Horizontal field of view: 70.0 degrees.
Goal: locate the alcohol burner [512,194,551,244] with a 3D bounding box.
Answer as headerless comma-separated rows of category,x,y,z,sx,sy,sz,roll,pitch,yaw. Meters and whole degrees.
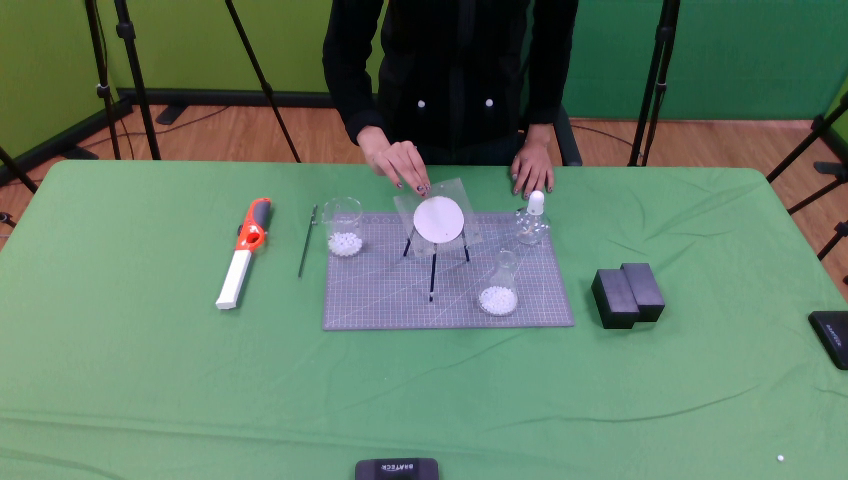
alcohol burner,0.215,-0.048,1.196,0.078,0.119,0.077,4,46,-4

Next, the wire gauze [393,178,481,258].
wire gauze,0.022,-0.038,1.041,0.125,0.011,0.121,-16,74,-9

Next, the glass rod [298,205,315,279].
glass rod,-0.231,0.000,1.191,0.008,0.008,0.198,2,46,-2

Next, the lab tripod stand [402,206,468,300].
lab tripod stand,0.023,0.013,1.108,0.148,0.132,0.147,3,44,-2

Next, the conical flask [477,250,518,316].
conical flask,0.136,0.072,1.067,0.075,0.122,0.075,2,46,-2

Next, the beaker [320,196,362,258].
beaker,-0.156,-0.021,1.150,0.084,0.101,0.073,-30,55,-28

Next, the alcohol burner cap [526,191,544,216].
alcohol burner cap,0.216,-0.073,1.170,0.034,0.048,0.033,0,42,0

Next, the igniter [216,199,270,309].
igniter,-0.342,0.016,1.153,0.057,0.025,0.275,-3,45,7
